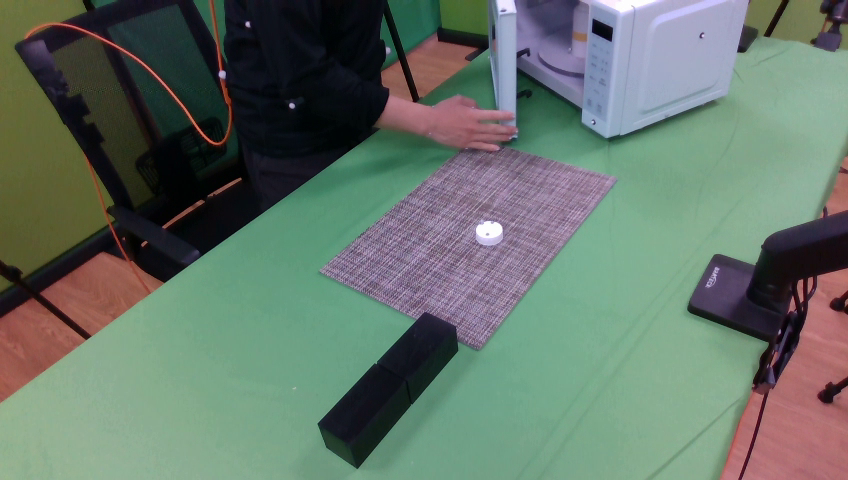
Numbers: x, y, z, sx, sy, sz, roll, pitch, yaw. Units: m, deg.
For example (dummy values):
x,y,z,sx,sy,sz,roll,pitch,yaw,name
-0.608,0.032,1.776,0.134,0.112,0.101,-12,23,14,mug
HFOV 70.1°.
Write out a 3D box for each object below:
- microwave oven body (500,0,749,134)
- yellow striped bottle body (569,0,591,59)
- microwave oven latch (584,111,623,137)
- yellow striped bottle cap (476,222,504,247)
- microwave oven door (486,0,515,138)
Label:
x,y,z,sx,sy,sz,roll,pitch,yaw,name
0.381,-0.444,1.246,0.327,0.261,0.437,-22,42,-16,microwave oven body
0.338,-0.449,1.268,0.063,0.121,0.062,-5,43,6,yellow striped bottle body
0.337,-0.222,1.142,0.030,0.029,0.078,-21,42,-14,microwave oven latch
0.105,-0.010,0.966,0.044,0.019,0.044,-4,39,3,yellow striped bottle cap
0.152,-0.402,1.222,0.039,0.245,0.354,-3,41,4,microwave oven door
